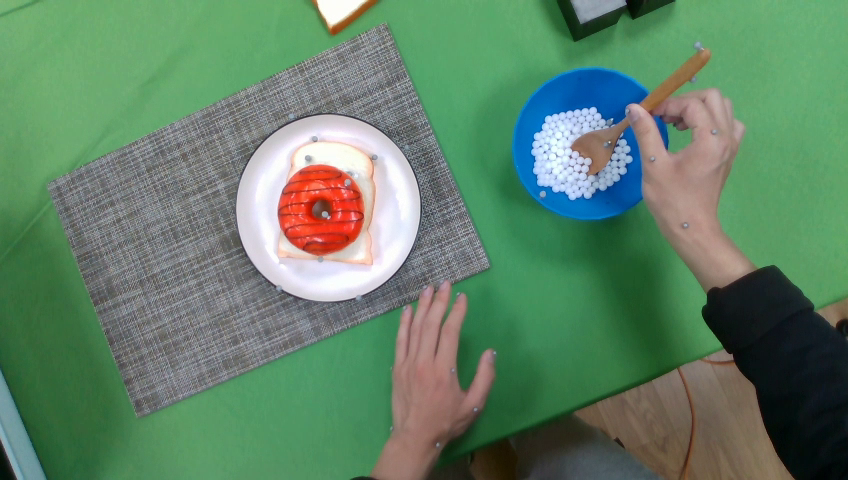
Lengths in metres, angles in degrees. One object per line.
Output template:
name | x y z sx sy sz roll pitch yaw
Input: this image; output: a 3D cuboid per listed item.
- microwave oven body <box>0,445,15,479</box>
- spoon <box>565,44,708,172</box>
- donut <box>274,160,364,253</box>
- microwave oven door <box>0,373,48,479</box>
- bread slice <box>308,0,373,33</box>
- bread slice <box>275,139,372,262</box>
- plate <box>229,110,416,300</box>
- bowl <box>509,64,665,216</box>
microwave oven body | -0.663 0.206 0.615 0.326 0.260 0.441 -25 88 4
spoon | 0.189 -0.115 0.558 0.021 0.194 0.041 -33 84 -25
donut | -0.112 -0.036 0.645 0.099 0.048 0.099 0 90 7
microwave oven door | -0.514 0.182 0.595 0.039 0.244 0.355 -26 87 5
bread slice | -0.106 -0.317 0.688 0.105 0.019 0.131 -38 87 3
bread slice | -0.110 -0.044 0.673 0.107 0.018 0.134 2 90 6
plate | -0.110 -0.037 0.672 0.207 0.039 0.207 0 90 6
bowl | 0.162 -0.097 0.629 0.151 0.077 0.151 0 89 5
